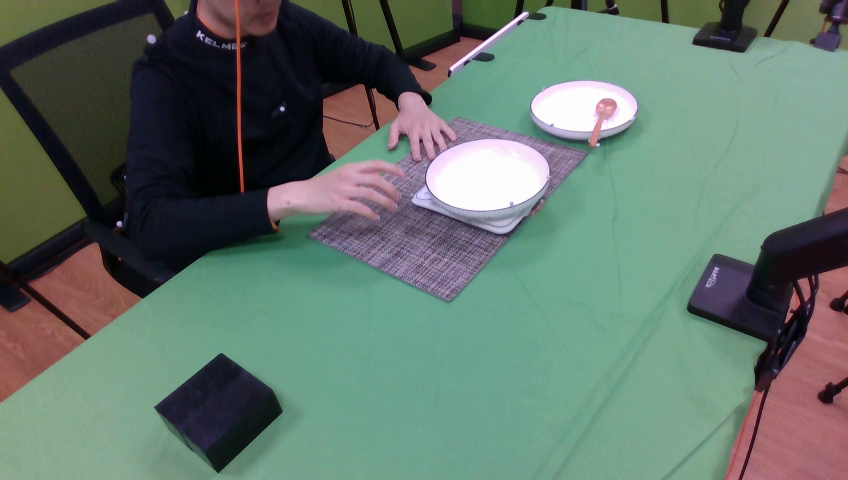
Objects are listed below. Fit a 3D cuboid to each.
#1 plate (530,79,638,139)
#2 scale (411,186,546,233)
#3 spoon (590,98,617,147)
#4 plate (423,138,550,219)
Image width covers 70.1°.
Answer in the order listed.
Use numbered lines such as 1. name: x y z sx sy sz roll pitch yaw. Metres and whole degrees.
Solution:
1. plate: 0.317 -0.257 1.210 0.209 0.038 0.208 -4 41 4
2. scale: 0.092 -0.083 1.039 0.199 0.032 0.149 22 48 30
3. spoon: 0.334 -0.225 1.145 0.041 0.022 0.194 11 37 20
4. plate: 0.104 -0.099 1.005 0.207 0.039 0.206 -4 41 4
